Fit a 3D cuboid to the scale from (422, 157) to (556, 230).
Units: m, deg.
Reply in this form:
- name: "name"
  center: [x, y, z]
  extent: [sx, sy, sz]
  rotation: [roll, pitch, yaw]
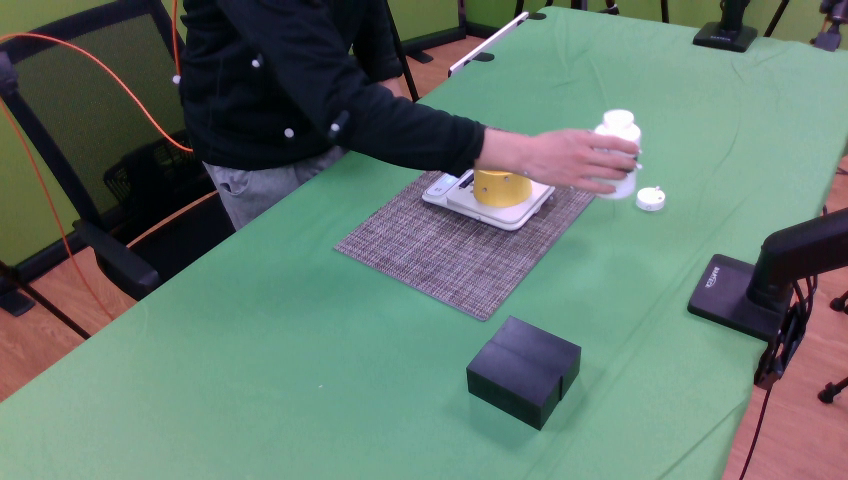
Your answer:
- name: "scale"
  center: [0.110, -0.089, 1.042]
  extent: [0.199, 0.032, 0.149]
  rotation: [23, 49, 31]

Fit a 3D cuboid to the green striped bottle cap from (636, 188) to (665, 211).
- name: "green striped bottle cap"
  center: [0.374, -0.066, 0.999]
  extent: [0.044, 0.020, 0.044]
  rotation: [-7, 39, 6]

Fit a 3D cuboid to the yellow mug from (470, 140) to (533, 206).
- name: "yellow mug"
  center: [0.125, -0.121, 1.004]
  extent: [0.100, 0.064, 0.130]
  rotation: [-13, 40, -5]

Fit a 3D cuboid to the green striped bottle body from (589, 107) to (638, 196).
- name: "green striped bottle body"
  center: [0.270, -0.127, 0.863]
  extent: [0.063, 0.120, 0.063]
  rotation: [-5, 37, 5]
